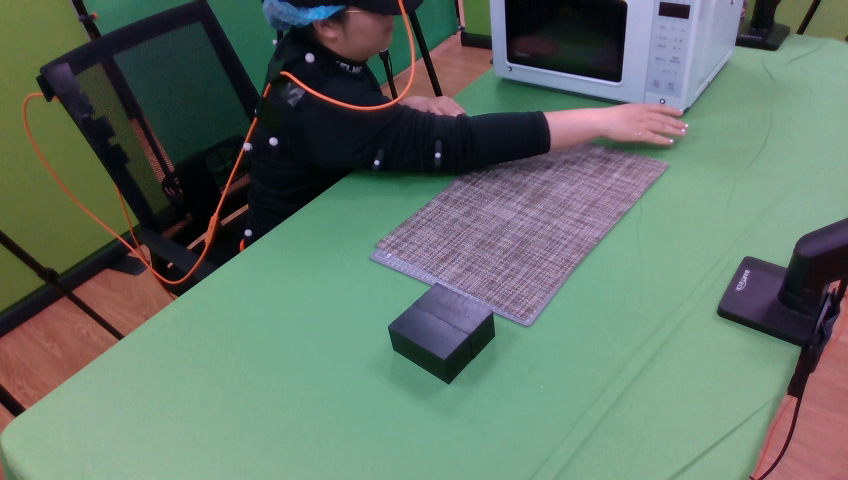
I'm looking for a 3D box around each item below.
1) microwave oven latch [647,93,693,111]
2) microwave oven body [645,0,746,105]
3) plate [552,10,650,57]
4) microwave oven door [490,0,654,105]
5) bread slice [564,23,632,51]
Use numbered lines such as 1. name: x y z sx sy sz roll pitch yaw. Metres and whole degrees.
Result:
1. microwave oven latch: 0.477 -0.273 1.177 0.078 0.029 0.030 22 50 33
2. microwave oven body: 0.416 -0.486 1.290 0.438 0.261 0.327 21 50 33
3. plate: 0.391 -0.454 1.339 0.209 0.038 0.208 -5 39 5
4. microwave oven door: 0.293 -0.420 1.228 0.353 0.245 0.039 22 50 32
5. bread slice: 0.394 -0.453 1.344 0.105 0.019 0.130 -36 42 -26
